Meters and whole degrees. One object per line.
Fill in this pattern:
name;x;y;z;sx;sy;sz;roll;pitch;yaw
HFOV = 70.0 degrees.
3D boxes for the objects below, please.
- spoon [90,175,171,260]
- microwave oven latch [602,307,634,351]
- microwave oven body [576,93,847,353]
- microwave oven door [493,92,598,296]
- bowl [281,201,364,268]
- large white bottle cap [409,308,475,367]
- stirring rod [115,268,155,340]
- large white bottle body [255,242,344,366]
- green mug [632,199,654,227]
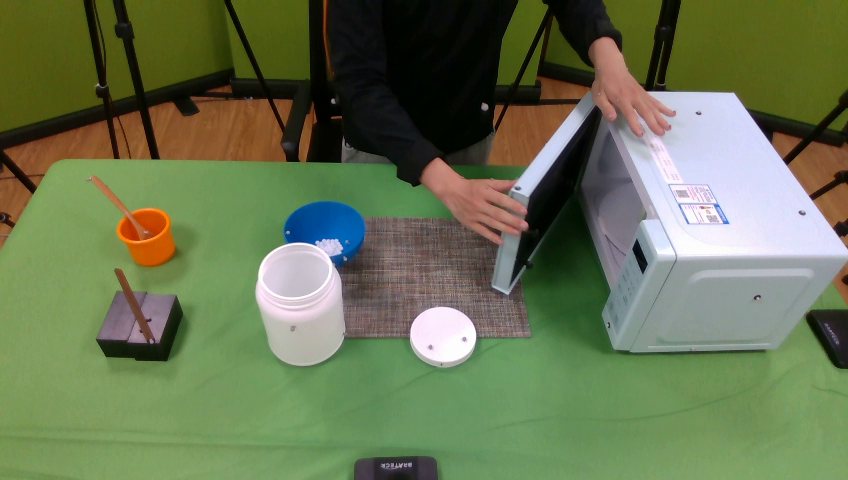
spoon;-0.538;-0.042;1.111;0.021;0.194;0.041;-13;27;53
microwave oven latch;0.332;0.153;1.044;0.030;0.029;0.078;0;45;-4
microwave oven body;0.475;-0.041;1.109;0.326;0.261;0.438;-1;45;-4
microwave oven door;0.234;-0.094;1.135;0.039;0.245;0.355;24;49;18
bowl;-0.187;0.005;1.138;0.151;0.077;0.150;3;46;-3
large white bottle cap;0.031;0.166;1.041;0.115;0.018;0.114;2;46;-2
stirring rod;-0.478;0.102;0.999;0.014;0.006;0.175;8;32;-49
large white bottle body;-0.196;0.102;0.967;0.131;0.185;0.130;2;49;-2
green mug;0.456;-0.056;1.153;0.125;0.105;0.092;-17;45;-10
